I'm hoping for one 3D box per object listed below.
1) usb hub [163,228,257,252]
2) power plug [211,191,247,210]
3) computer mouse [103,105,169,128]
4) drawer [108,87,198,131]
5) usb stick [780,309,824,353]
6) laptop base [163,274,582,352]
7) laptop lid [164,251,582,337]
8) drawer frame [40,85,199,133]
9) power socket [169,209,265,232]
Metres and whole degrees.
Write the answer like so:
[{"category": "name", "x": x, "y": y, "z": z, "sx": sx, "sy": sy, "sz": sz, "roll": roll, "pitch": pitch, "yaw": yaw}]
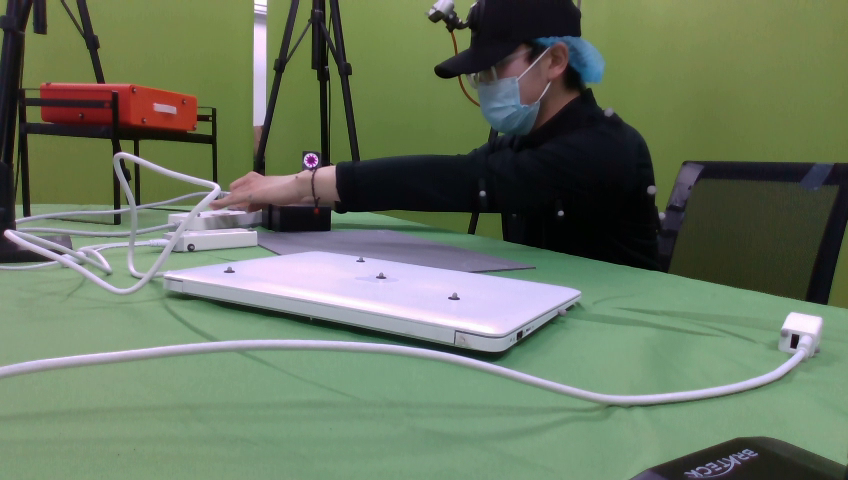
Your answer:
[{"category": "usb hub", "x": -0.313, "y": -0.001, "z": 0.894, "sx": 0.049, "sy": 0.025, "sz": 0.126, "roll": 9, "pitch": 10, "yaw": 41}, {"category": "power plug", "x": -0.385, "y": -0.070, "z": 1.204, "sx": 0.072, "sy": 0.052, "sz": 0.035, "roll": 7, "pitch": 10, "yaw": 25}, {"category": "computer mouse", "x": -0.581, "y": -0.249, "z": 1.223, "sx": 0.118, "sy": 0.041, "sz": 0.062, "roll": 2, "pitch": 3, "yaw": -39}, {"category": "drawer", "x": -0.609, "y": -0.265, "z": 1.236, "sx": 0.211, "sy": 0.073, "sz": 0.195, "roll": 4, "pitch": 8, "yaw": 16}, {"category": "usb stick", "x": 0.311, "y": 0.072, "z": 0.497, "sx": 0.027, "sy": 0.021, "sz": 0.059, "roll": 7, "pitch": 14, "yaw": 34}, {"category": "laptop base", "x": -0.046, "y": 0.052, "z": 0.598, "sx": 0.353, "sy": 0.023, "sz": 0.236, "roll": 6, "pitch": 6, "yaw": 28}, {"category": "laptop lid", "x": -0.045, "y": 0.040, "z": 0.599, "sx": 0.355, "sy": 0.013, "sz": 0.243, "roll": 7, "pitch": 7, "yaw": 30}, {"category": "drawer frame", "x": -0.612, "y": -0.266, "z": 1.235, "sx": 0.213, "sy": 0.082, "sz": 0.202, "roll": 3, "pitch": 8, "yaw": 15}, {"category": "power socket", "x": -0.379, "y": -0.038, "z": 1.128, "sx": 0.072, "sy": 0.032, "sz": 0.227, "roll": 4, "pitch": 8, "yaw": 17}]
